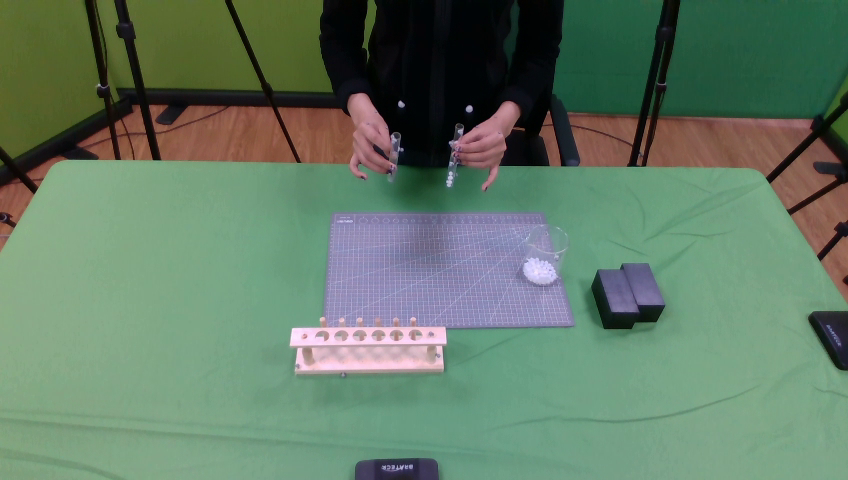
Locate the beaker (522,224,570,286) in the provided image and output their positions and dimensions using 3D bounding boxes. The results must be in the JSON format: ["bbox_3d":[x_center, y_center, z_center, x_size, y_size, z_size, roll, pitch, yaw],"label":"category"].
[{"bbox_3d":[0.221,0.032,1.129,0.084,0.101,0.073,-7,46,-9],"label":"beaker"}]

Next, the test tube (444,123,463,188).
[{"bbox_3d":[0.054,-0.152,1.114,0.017,0.151,0.017,4,49,-5],"label":"test tube"}]

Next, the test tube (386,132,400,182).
[{"bbox_3d":[-0.055,-0.143,1.064,0.017,0.150,0.017,3,67,-6],"label":"test tube"}]

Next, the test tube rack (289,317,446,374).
[{"bbox_3d":[-0.089,0.167,0.988,0.242,0.085,0.066,0,46,-4],"label":"test tube rack"}]
